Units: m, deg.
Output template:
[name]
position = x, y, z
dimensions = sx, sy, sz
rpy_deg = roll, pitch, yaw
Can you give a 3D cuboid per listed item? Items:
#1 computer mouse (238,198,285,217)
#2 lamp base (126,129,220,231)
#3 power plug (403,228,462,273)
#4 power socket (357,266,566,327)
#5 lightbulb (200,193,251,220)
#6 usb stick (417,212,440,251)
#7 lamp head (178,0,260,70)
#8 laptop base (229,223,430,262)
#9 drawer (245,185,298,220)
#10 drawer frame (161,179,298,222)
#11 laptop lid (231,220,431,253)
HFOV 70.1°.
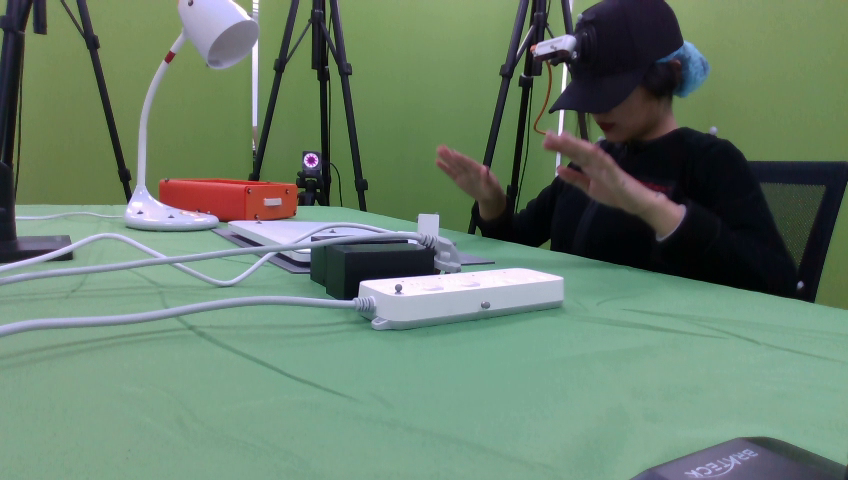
[computer mouse]
position = -0.354, -0.072, 1.326
dimensions = 0.063, 0.041, 0.117
rpy_deg = 3, 2, 12
[lamp base]
position = -0.470, -0.111, 1.105
dimensions = 0.179, 0.180, 0.160
rpy_deg = 1, 7, 6
[power plug]
position = 0.006, 0.016, 0.647
dimensions = 0.073, 0.052, 0.035
rpy_deg = 17, 12, -6
[power socket]
position = 0.042, 0.049, 0.573
dimensions = 0.228, 0.032, 0.072
rpy_deg = -3, 8, -34
[lightbulb]
position = -0.433, -0.079, 1.319
dimensions = 0.108, 0.059, 0.059
rpy_deg = -17, 13, -16
[usb stick]
position = 0.005, -0.003, 0.721
dimensions = 0.027, 0.059, 0.021
rpy_deg = 0, -3, -2
[lamp head]
position = -0.365, -0.368, 1.038
dimensions = 0.123, 0.112, 0.112
rpy_deg = 42, 14, 6
[laptop base]
position = -0.145, 0.002, 0.943
dimensions = 0.237, 0.023, 0.352
rpy_deg = 2, 6, -32
[drawer]
position = -0.416, -0.087, 1.329
dimensions = 0.211, 0.073, 0.195
rpy_deg = 4, 8, 18
[drawer frame]
position = -0.420, -0.089, 1.328
dimensions = 0.213, 0.082, 0.202
rpy_deg = 4, 8, 18
[laptop lid]
position = -0.142, -0.009, 0.942
dimensions = 0.243, 0.013, 0.355
rpy_deg = 1, 7, -31
